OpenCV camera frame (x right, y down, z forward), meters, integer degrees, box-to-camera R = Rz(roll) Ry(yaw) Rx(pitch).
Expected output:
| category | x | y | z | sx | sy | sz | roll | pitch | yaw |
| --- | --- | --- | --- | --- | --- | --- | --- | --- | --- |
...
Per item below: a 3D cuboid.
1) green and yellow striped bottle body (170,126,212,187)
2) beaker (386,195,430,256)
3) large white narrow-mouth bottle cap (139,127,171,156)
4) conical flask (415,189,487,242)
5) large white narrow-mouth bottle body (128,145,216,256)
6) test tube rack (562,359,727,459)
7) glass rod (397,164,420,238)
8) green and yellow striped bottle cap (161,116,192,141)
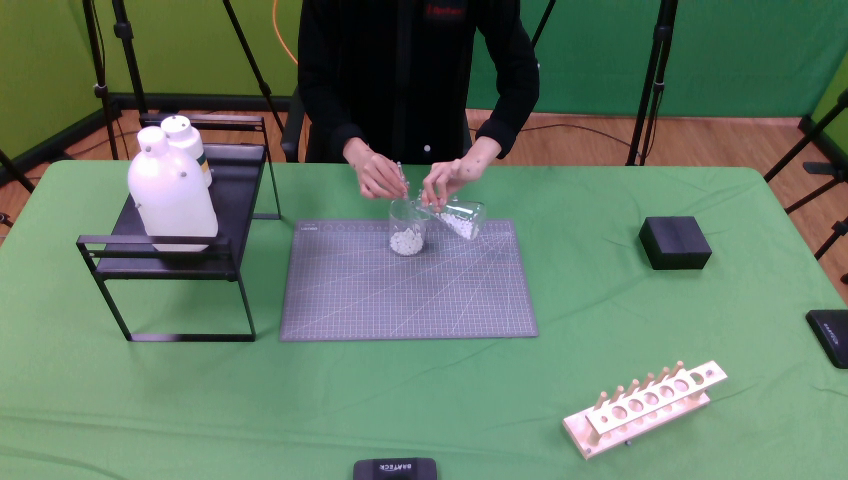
| category | x | y | z | sx | sy | sz | roll | pitch | yaw |
| --- | --- | --- | --- | --- | --- | --- | --- | --- | --- |
| green and yellow striped bottle body | -0.389 | -0.139 | 0.984 | 0.063 | 0.120 | 0.063 | 2 | 46 | -2 |
| beaker | -0.031 | -0.024 | 1.161 | 0.084 | 0.101 | 0.073 | 18 | 48 | 12 |
| large white narrow-mouth bottle cap | -0.358 | -0.132 | 0.807 | 0.038 | 0.024 | 0.037 | 3 | 47 | -3 |
| conical flask | 0.045 | -0.051 | 1.085 | 0.121 | 0.075 | 0.075 | 23 | 49 | 15 |
| large white narrow-mouth bottle body | -0.366 | -0.073 | 0.872 | 0.102 | 0.195 | 0.101 | 3 | 47 | -3 |
| test tube rack | 0.341 | 0.247 | 0.940 | 0.243 | 0.085 | 0.066 | -16 | 49 | -18 |
| glass rod | -0.027 | -0.067 | 1.124 | 0.008 | 0.201 | 0.008 | -6 | 49 | 7 |
| green and yellow striped bottle cap | -0.387 | -0.174 | 0.946 | 0.045 | 0.020 | 0.045 | 3 | 44 | -3 |
